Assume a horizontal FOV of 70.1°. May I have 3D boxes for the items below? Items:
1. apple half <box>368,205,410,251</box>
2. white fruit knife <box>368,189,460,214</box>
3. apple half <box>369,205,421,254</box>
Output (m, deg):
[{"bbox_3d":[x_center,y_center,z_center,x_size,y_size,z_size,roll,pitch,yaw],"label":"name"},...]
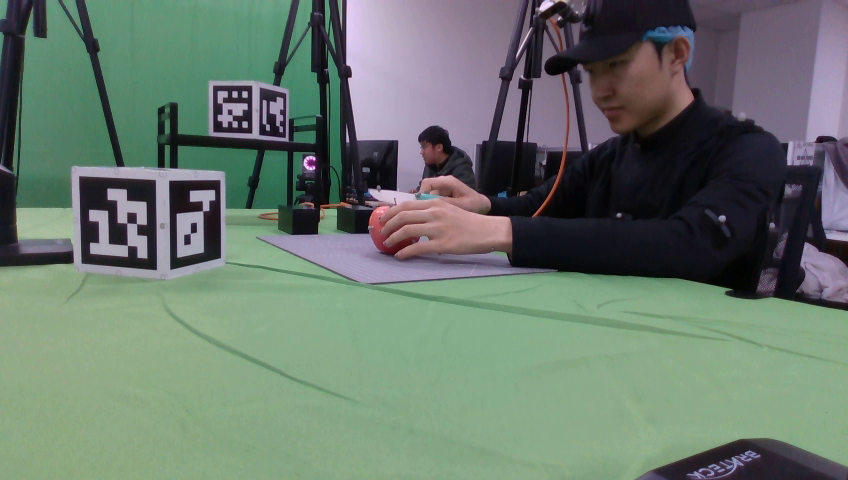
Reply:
[{"bbox_3d":[-0.062,-0.021,0.949,0.082,0.081,0.032,-4,14,-39],"label":"apple half"},{"bbox_3d":[-0.011,-0.065,0.972,0.016,0.027,0.208,-7,-8,42],"label":"white fruit knife"},{"bbox_3d":[-0.037,-0.015,0.920,0.081,0.074,0.053,2,11,-40],"label":"apple half"}]
